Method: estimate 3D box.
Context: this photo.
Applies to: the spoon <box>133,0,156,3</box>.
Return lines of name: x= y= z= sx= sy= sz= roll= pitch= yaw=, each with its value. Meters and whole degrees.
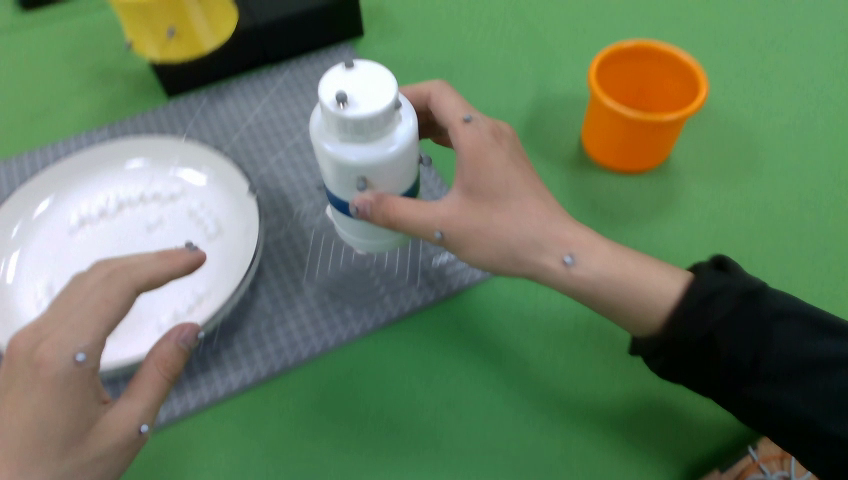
spoon: x=-0.174 y=-0.234 z=0.488 sx=0.193 sy=0.022 sz=0.041 roll=-13 pitch=49 yaw=32

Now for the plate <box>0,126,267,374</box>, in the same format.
plate: x=-0.219 y=0.004 z=0.452 sx=0.208 sy=0.039 sz=0.205 roll=0 pitch=58 yaw=1

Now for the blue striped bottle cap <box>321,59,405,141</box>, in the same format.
blue striped bottle cap: x=-0.033 y=-0.076 z=0.328 sx=0.044 sy=0.021 sz=0.044 roll=-3 pitch=61 yaw=6

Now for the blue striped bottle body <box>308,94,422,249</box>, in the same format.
blue striped bottle body: x=-0.034 y=-0.049 z=0.372 sx=0.063 sy=0.122 sz=0.062 roll=-1 pitch=60 yaw=1

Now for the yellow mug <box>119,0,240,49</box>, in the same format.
yellow mug: x=-0.232 y=-0.228 z=0.524 sx=0.130 sy=0.064 sz=0.099 roll=20 pitch=61 yaw=15
